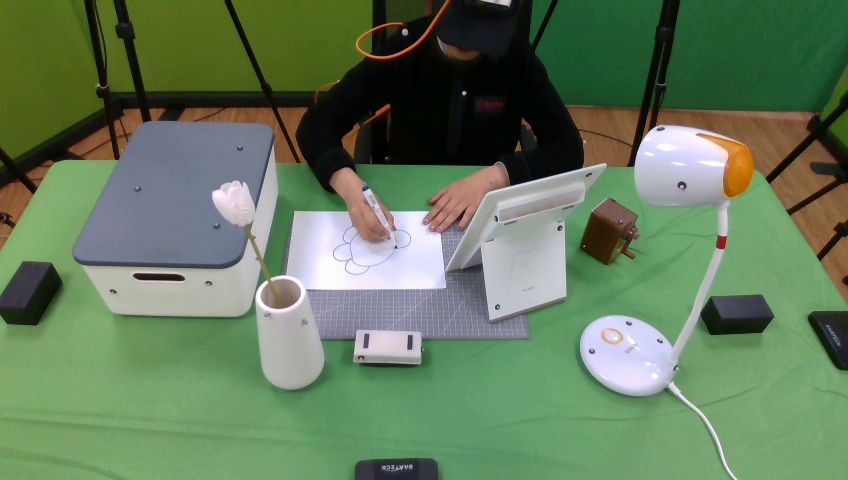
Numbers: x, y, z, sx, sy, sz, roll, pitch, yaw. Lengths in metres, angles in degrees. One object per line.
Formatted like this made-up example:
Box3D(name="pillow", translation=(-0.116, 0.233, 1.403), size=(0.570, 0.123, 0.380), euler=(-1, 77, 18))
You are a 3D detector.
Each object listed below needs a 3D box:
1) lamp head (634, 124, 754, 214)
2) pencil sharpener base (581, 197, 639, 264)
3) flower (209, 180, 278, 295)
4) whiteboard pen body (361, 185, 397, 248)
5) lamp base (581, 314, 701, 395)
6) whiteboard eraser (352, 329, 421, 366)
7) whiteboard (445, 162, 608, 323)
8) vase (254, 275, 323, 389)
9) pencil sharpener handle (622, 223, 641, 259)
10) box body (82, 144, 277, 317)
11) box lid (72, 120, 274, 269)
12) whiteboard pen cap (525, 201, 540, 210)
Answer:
Box3D(name="lamp head", translation=(0.351, -0.089, 0.776), size=(0.112, 0.113, 0.122), euler=(-30, 30, -28))
Box3D(name="pencil sharpener base", translation=(0.362, -0.017, 1.179), size=(0.076, 0.107, 0.061), euler=(37, 54, 27))
Box3D(name="flower", translation=(-0.216, 0.075, 0.871), size=(0.044, 0.363, 0.038), euler=(-29, 36, -19))
Box3D(name="whiteboard pen body", translation=(-0.083, -0.043, 1.163), size=(0.017, 0.141, 0.017), euler=(-23, 22, 10))
Box3D(name="lamp base", translation=(0.361, 0.144, 0.973), size=(0.178, 0.181, 0.160), euler=(34, 53, 23))
Box3D(name="whiteboard eraser", translation=(-0.061, 0.180, 1.005), size=(0.113, 0.042, 0.055), euler=(3, 48, -3))
Box3D(name="whiteboard", translation=(0.186, 0.025, 1.029), size=(0.217, 0.306, 0.143), euler=(-14, 68, -17))
Box3D(name="vase", translation=(-0.209, 0.143, 0.921), size=(0.098, 0.201, 0.097), euler=(1, 46, -1))
Box3D(name="pencil sharpener handle", translation=(0.397, 0.002, 1.146), size=(0.030, 0.068, 0.036), euler=(37, 46, 27))
Box3D(name="box body", translation=(-0.421, -0.041, 1.108), size=(0.254, 0.161, 0.361), euler=(2, 46, -3))
Box3D(name="box lid", translation=(-0.417, -0.094, 1.056), size=(0.263, 0.015, 0.369), euler=(1, 47, -3))
Box3D(name="whiteboard pen cap", translation=(0.230, -0.074, 1.289), size=(0.033, 0.018, 0.018), euler=(5, 46, 3))
